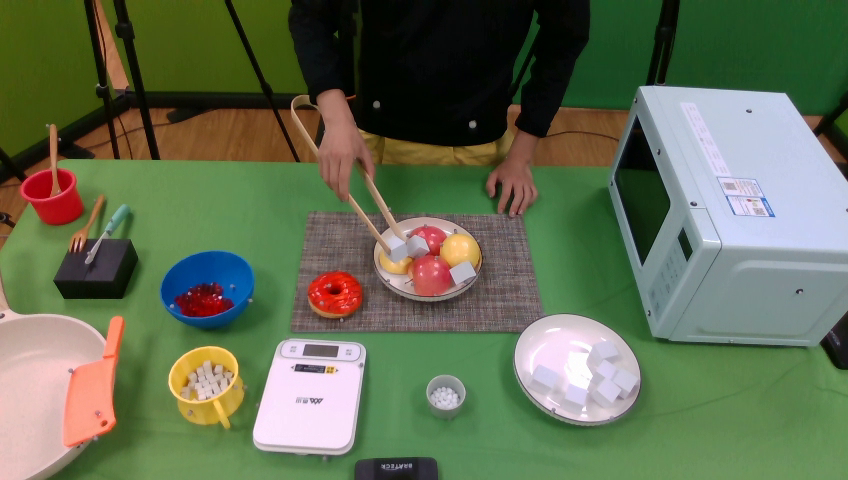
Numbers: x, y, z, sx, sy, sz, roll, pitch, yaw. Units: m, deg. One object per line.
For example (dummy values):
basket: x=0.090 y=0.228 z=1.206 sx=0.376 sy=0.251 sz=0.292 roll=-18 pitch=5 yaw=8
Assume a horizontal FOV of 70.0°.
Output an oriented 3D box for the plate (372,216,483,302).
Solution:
plate: x=0.006 y=0.038 z=1.145 sx=0.209 sy=0.038 sz=0.208 roll=2 pitch=46 yaw=-2

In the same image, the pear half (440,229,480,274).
pear half: x=0.065 y=0.007 z=1.150 sx=0.076 sy=0.056 sz=0.109 roll=-10 pitch=43 yaw=-2

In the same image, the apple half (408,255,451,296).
apple half: x=0.012 y=0.058 z=1.103 sx=0.075 sy=0.053 sz=0.080 roll=-6 pitch=44 yaw=-13

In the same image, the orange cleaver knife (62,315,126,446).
orange cleaver knife: x=-0.480 y=0.199 z=0.887 sx=0.077 sy=0.012 sz=0.210 roll=-9 pitch=47 yaw=-8

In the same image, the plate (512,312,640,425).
plate: x=0.246 y=0.213 z=0.999 sx=0.208 sy=0.039 sz=0.206 roll=2 pitch=46 yaw=-2

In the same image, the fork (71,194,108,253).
fork: x=-0.634 y=-0.036 z=1.158 sx=0.028 sy=0.019 sz=0.206 roll=-8 pitch=31 yaw=-8

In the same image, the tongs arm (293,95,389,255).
tongs arm: x=-0.161 y=-0.127 z=1.134 sx=0.028 sy=0.028 sz=0.385 roll=-26 pitch=68 yaw=-19

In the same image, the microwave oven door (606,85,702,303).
microwave oven door: x=0.422 y=-0.094 z=1.140 sx=0.039 sy=0.245 sz=0.353 roll=2 pitch=46 yaw=-1

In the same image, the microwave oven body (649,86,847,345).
microwave oven body: x=0.567 y=-0.053 z=1.118 sx=0.326 sy=0.261 sz=0.439 roll=2 pitch=45 yaw=-1

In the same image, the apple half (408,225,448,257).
apple half: x=0.011 y=-0.006 z=1.176 sx=0.081 sy=0.033 sz=0.081 roll=2 pitch=53 yaw=-2

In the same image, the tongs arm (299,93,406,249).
tongs arm: x=-0.141 y=-0.137 z=1.143 sx=0.051 sy=0.026 sz=0.382 roll=-21 pitch=66 yaw=-21

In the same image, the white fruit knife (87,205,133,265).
white fruit knife: x=-0.584 y=-0.013 z=1.129 sx=0.016 sy=0.027 sz=0.206 roll=-1 pitch=32 yaw=-4

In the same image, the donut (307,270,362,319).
donut: x=-0.158 y=0.096 z=1.073 sx=0.099 sy=0.048 sz=0.098 roll=4 pitch=45 yaw=-4

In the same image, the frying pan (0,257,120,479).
frying pan: x=-0.647 y=0.164 z=0.937 sx=0.307 sy=0.103 sz=0.485 roll=-19 pitch=58 yaw=-22

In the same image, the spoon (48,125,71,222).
spoon: x=-0.718 y=-0.131 z=1.188 sx=0.041 sy=0.021 sz=0.193 roll=-3 pitch=90 yaw=-6

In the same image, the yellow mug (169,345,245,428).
yellow mug: x=-0.322 y=0.230 z=0.922 sx=0.100 sy=0.064 sz=0.130 roll=-24 pitch=53 yaw=-25

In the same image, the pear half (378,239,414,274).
pear half: x=-0.049 y=0.024 z=1.147 sx=0.070 sy=0.031 sz=0.087 roll=15 pitch=48 yaw=-13

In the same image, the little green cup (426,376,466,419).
little green cup: x=0.033 y=0.248 z=0.950 sx=0.061 sy=0.039 sz=0.061 roll=2 pitch=46 yaw=-2

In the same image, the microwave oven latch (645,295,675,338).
microwave oven latch: x=0.411 y=0.134 z=1.061 sx=0.030 sy=0.029 sz=0.078 roll=3 pitch=45 yaw=0

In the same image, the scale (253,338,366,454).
scale: x=-0.175 y=0.236 z=0.951 sx=0.149 sy=0.032 sz=0.199 roll=4 pitch=45 yaw=-1

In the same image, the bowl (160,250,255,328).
bowl: x=-0.362 y=0.098 z=1.039 sx=0.151 sy=0.077 sz=0.150 roll=2 pitch=45 yaw=-2
